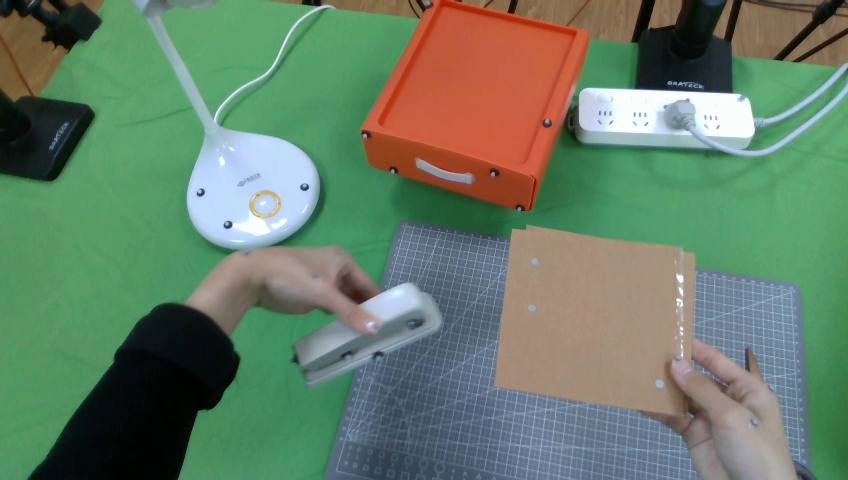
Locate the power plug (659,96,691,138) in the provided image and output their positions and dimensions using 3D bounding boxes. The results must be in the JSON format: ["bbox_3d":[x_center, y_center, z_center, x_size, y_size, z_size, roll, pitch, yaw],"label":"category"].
[{"bbox_3d":[0.297,-0.140,0.723,0.035,0.053,0.072,14,64,11],"label":"power plug"}]

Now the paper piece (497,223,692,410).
[{"bbox_3d":[0.136,0.053,0.474,0.135,0.004,0.135,9,63,16],"label":"paper piece"}]

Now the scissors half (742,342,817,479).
[{"bbox_3d":[0.337,0.181,0.584,0.040,0.013,0.173,-4,60,-6],"label":"scissors half"}]

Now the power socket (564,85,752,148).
[{"bbox_3d":[0.292,-0.155,0.758,0.226,0.033,0.071,4,63,5],"label":"power socket"}]

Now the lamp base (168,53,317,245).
[{"bbox_3d":[-0.225,-0.109,0.679,0.160,0.182,0.177,-40,64,-17],"label":"lamp base"}]

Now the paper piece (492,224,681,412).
[{"bbox_3d":[0.126,0.053,0.462,0.136,0.009,0.137,7,65,8],"label":"paper piece"}]

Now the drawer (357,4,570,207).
[{"bbox_3d":[0.056,-0.161,0.697,0.194,0.074,0.210,17,63,13],"label":"drawer"}]

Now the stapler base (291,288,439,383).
[{"bbox_3d":[-0.051,0.077,0.519,0.130,0.024,0.041,-23,63,-5],"label":"stapler base"}]

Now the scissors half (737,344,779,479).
[{"bbox_3d":[0.317,0.180,0.582,0.040,0.013,0.174,13,59,-1],"label":"scissors half"}]

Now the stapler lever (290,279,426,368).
[{"bbox_3d":[-0.055,0.067,0.497,0.118,0.040,0.026,-23,62,-6],"label":"stapler lever"}]

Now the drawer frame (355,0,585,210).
[{"bbox_3d":[0.057,-0.165,0.702,0.201,0.083,0.212,17,65,13],"label":"drawer frame"}]

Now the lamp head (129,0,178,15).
[{"bbox_3d":[-0.195,-0.236,0.416,0.123,0.112,0.112,48,69,-16],"label":"lamp head"}]
